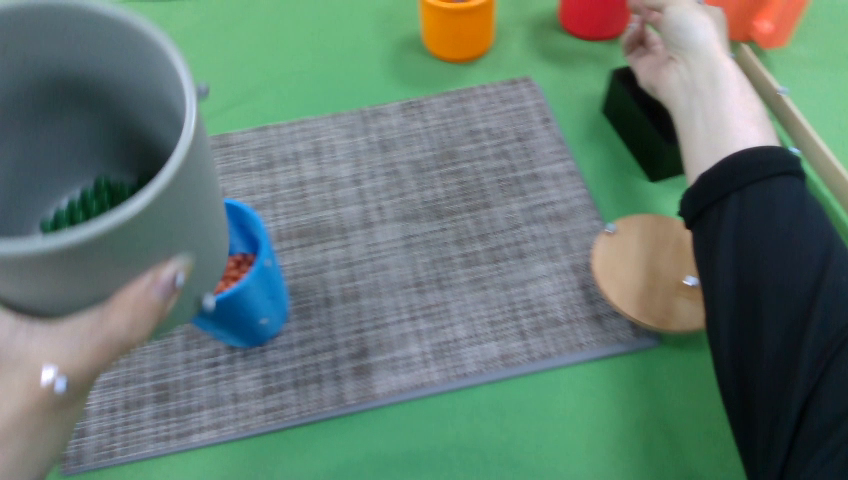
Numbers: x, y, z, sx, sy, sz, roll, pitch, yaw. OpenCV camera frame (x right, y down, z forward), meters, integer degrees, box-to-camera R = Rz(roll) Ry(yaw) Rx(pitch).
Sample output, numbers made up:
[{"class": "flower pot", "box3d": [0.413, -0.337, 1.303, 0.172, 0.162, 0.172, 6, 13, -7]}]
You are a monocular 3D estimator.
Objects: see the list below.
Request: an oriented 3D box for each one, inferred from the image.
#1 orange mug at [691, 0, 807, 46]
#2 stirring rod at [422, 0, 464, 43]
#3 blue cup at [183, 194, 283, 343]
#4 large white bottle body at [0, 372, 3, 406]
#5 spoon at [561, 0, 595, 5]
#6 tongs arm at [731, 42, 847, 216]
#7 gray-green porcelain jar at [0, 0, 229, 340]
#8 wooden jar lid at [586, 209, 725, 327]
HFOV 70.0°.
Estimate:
[{"class": "orange mug", "box3d": [0.341, -0.263, 0.620, 0.083, 0.102, 0.125, -13, 53, -6]}, {"class": "stirring rod", "box3d": [0.057, -0.272, 0.616, 0.176, 0.006, 0.014, -46, 62, 24]}, {"class": "blue cup", "box3d": [-0.147, 0.030, 0.447, 0.092, 0.101, 0.092, -2, 58, 3]}, {"class": "large white bottle body", "box3d": [-0.382, 0.084, 0.376, 0.130, 0.186, 0.129, -1, 57, 2]}, {"class": "spoon", "box3d": [0.207, -0.265, 0.600, 0.041, 0.022, 0.192, -36, 18, -22]}, {"class": "tongs arm", "box3d": [0.375, -0.038, 0.511, 0.051, 0.027, 0.380, -9, 57, -9]}, {"class": "gray-green porcelain jar", "box3d": [-0.143, -0.019, 0.261, 0.106, 0.127, 0.105, 4, 65, -9]}, {"class": "wooden jar lid", "box3d": [0.183, 0.023, 0.486, 0.108, 0.021, 0.107, 1, 55, 0]}]
